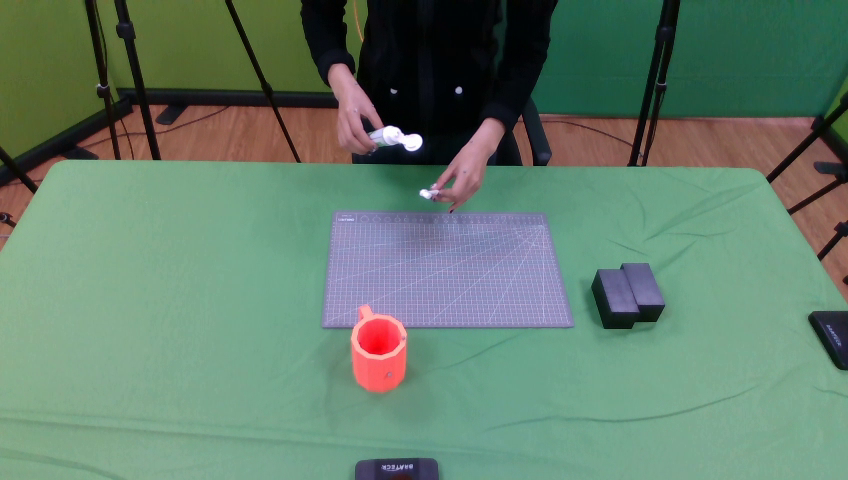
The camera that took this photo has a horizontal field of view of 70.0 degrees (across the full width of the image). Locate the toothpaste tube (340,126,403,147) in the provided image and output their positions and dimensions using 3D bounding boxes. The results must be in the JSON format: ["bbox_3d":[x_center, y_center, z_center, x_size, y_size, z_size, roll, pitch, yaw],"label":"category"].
[{"bbox_3d":[-0.095,-0.191,1.153,0.055,0.034,0.164,6,-3,-38],"label":"toothpaste tube"}]

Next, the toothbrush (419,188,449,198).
[{"bbox_3d":[0.024,-0.090,1.155,0.016,0.014,0.182,30,12,11],"label":"toothbrush"}]

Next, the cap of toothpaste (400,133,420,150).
[{"bbox_3d":[-0.026,-0.180,1.098,0.037,0.011,0.037,-7,64,16],"label":"cap of toothpaste"}]

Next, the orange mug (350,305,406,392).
[{"bbox_3d":[-0.080,0.168,0.978,0.083,0.101,0.125,-16,54,-18],"label":"orange mug"}]
